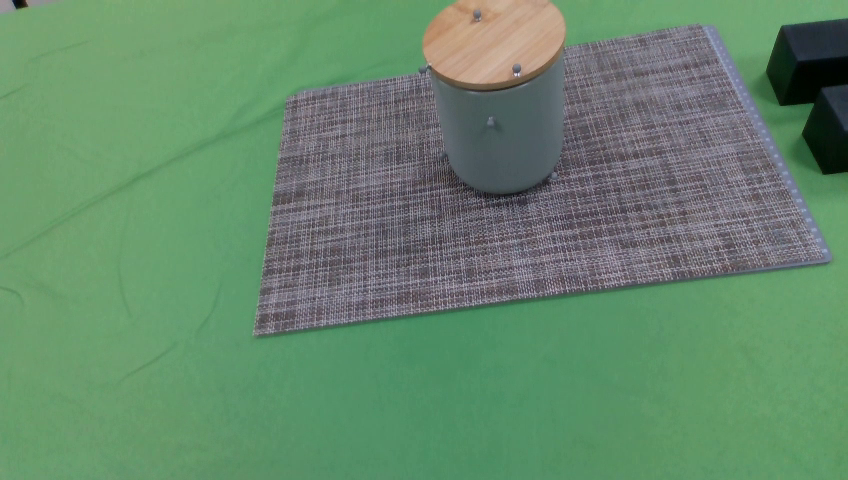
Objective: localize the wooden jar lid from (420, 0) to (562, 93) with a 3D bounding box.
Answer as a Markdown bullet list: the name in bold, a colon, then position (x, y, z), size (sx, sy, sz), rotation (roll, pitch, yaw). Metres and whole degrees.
- **wooden jar lid**: position (0.051, -0.147, 0.465), size (0.108, 0.021, 0.107), rotation (-5, 56, 8)

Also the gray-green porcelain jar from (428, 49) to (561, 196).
- **gray-green porcelain jar**: position (0.063, -0.109, 0.516), size (0.106, 0.128, 0.105), rotation (-6, 53, 8)
